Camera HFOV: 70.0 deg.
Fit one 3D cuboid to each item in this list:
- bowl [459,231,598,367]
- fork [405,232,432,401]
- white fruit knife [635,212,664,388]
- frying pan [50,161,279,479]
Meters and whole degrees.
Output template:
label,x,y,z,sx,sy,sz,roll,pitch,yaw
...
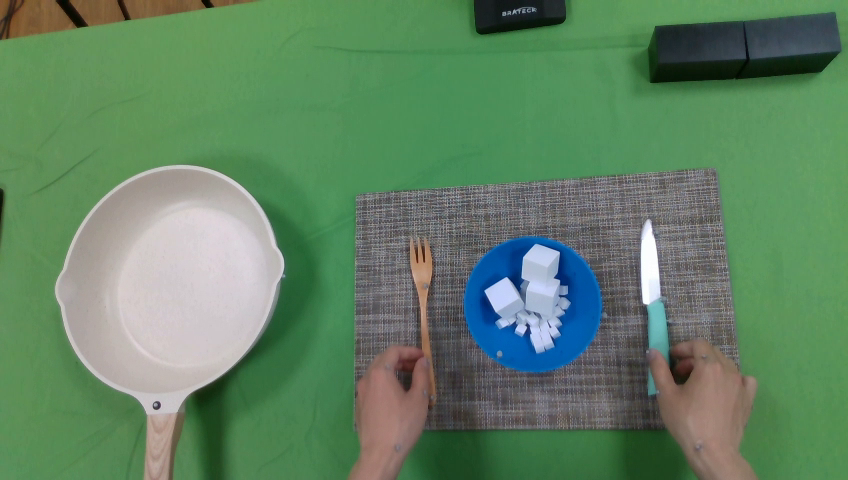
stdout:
label,x,y,z,sx,sy,sz,roll,pitch,yaw
bowl,0.119,0.071,0.696,0.151,0.077,0.150,-2,78,9
fork,-0.004,0.091,0.743,0.028,0.019,0.206,-6,76,4
white fruit knife,0.262,0.067,0.706,0.027,0.016,0.206,1,78,-2
frying pan,-0.317,0.143,0.743,0.306,0.103,0.484,-5,69,9
